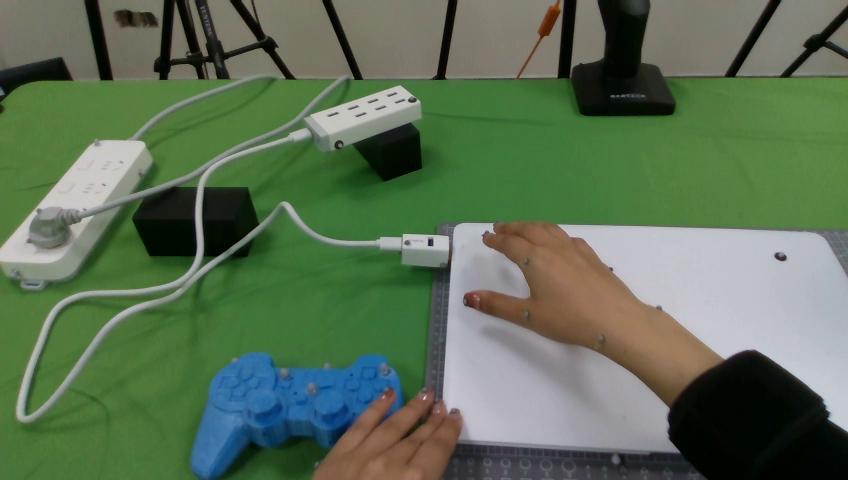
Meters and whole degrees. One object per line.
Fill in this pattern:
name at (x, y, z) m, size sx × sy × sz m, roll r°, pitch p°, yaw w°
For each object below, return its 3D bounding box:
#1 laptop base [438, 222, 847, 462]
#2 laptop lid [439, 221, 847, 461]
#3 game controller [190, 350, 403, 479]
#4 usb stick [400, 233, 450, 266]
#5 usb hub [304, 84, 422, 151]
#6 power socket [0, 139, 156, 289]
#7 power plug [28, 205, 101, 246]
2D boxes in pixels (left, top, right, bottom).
laptop base at (0.194, 0.075, 0.518) m, size 0.354 × 0.023 × 0.233 m, roll 2°, pitch 46°, yaw 4°
laptop lid at (0.194, 0.068, 0.508) m, size 0.356 × 0.013 × 0.239 m, roll 3°, pitch 45°, yaw 6°
game controller at (-0.091, 0.126, 0.455) m, size 0.155 × 0.052 × 0.096 m, roll 1°, pitch 39°, yaw 4°
usb stick at (0.007, 0.009, 0.575) m, size 0.059 × 0.027 × 0.021 m, roll 5°, pitch 42°, yaw -5°
usb hub at (-0.068, -0.138, 0.681) m, size 0.125 × 0.025 × 0.049 m, roll -25°, pitch 48°, yaw -21°
power socket at (-0.367, -0.040, 0.655) m, size 0.072 × 0.033 × 0.224 m, roll 4°, pitch 43°, yaw 5°
power plug at (-0.345, -0.006, 0.583) m, size 0.072 × 0.053 × 0.035 m, roll 12°, pitch 44°, yaw 12°
